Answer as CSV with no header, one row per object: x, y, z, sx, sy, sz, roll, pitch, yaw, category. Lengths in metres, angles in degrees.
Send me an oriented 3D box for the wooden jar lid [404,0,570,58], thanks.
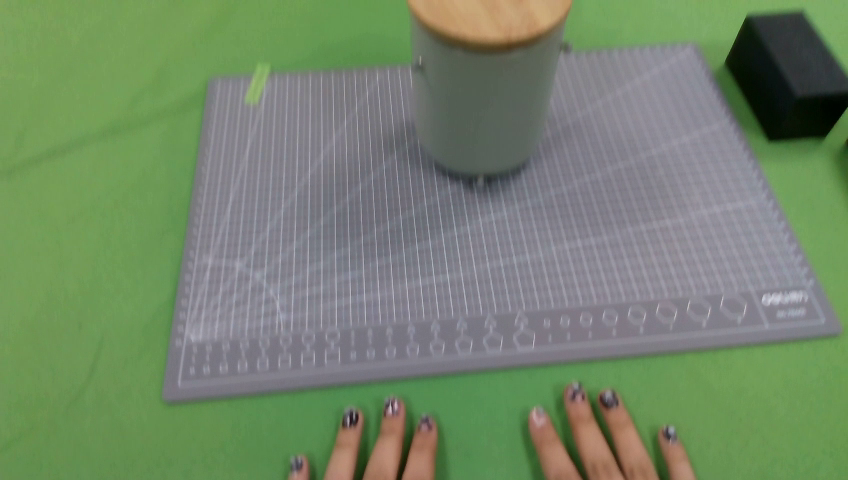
0.041,-0.154,0.401,0.108,0.021,0.107,0,55,0,wooden jar lid

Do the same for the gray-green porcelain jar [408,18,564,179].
0.042,-0.117,0.454,0.106,0.127,0.105,0,55,1,gray-green porcelain jar
